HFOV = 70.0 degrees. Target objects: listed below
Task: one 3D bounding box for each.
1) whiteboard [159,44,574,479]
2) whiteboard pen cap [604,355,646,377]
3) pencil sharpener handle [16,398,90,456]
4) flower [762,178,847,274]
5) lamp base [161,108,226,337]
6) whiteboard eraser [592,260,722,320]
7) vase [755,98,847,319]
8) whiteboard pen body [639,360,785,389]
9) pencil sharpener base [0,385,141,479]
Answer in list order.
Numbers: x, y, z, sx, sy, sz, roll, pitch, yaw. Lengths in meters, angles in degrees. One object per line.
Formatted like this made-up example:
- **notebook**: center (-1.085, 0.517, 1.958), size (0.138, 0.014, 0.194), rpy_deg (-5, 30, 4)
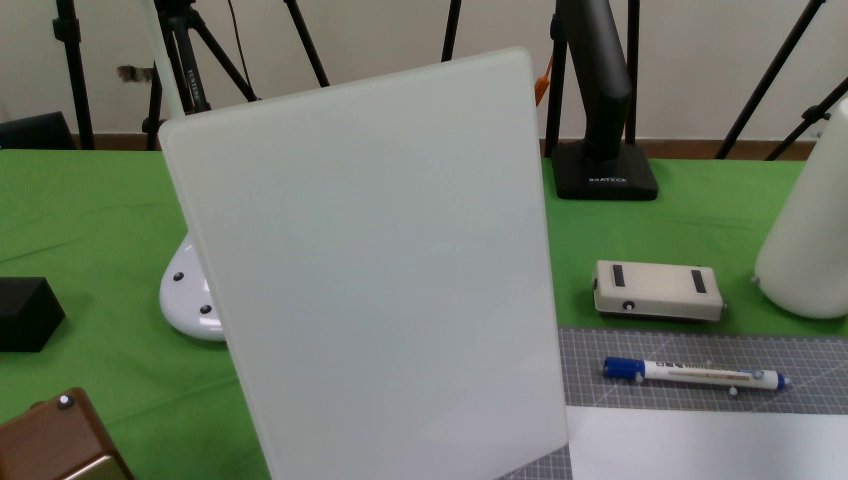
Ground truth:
- **whiteboard**: center (-0.032, 0.035, 0.444), size (0.218, 0.307, 0.142), rpy_deg (-17, 22, -18)
- **whiteboard pen cap**: center (0.173, 0.110, 0.524), size (0.033, 0.018, 0.018), rpy_deg (5, 39, 5)
- **pencil sharpener handle**: center (-0.262, 0.128, 0.429), size (0.036, 0.068, 0.030), rpy_deg (-35, 48, -24)
- **flower**: center (0.374, -0.082, 0.480), size (0.044, 0.364, 0.038), rpy_deg (-10, 53, -19)
- **lamp base**: center (-0.196, -0.026, 0.582), size (0.160, 0.182, 0.177), rpy_deg (-31, 45, -32)
- **whiteboard eraser**: center (0.221, 0.050, 0.583), size (0.112, 0.042, 0.055), rpy_deg (3, 37, 7)
- **vase**: center (0.374, -0.023, 0.542), size (0.098, 0.202, 0.097), rpy_deg (0, 38, 1)
- **whiteboard pen body**: center (0.232, 0.114, 0.517), size (0.140, 0.017, 0.017), rpy_deg (3, 38, 7)
- **pencil sharpener base**: center (-0.230, 0.162, 0.405), size (0.061, 0.108, 0.076), rpy_deg (-29, 45, -30)
